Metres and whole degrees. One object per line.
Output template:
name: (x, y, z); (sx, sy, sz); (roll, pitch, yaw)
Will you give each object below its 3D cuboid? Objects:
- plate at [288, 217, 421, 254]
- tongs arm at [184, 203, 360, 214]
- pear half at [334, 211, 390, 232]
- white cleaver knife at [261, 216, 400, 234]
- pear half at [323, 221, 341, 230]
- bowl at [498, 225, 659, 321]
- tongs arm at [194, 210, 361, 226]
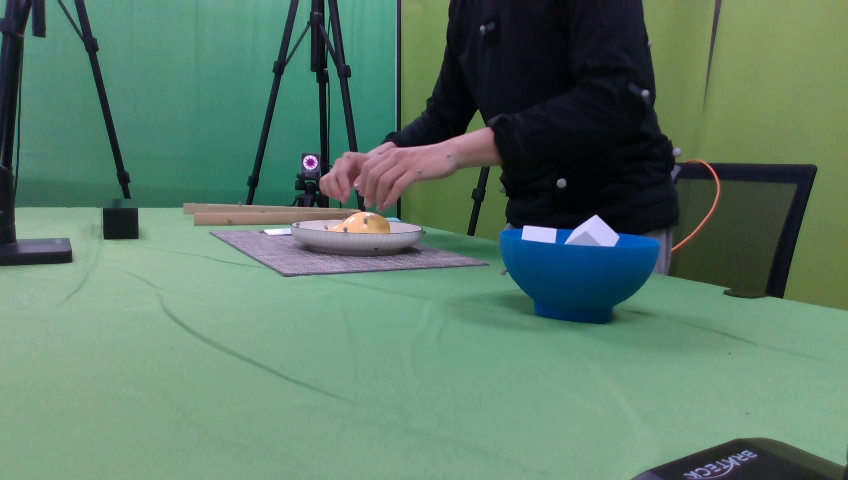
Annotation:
plate: (-0.109, -0.008, 0.956); (0.208, 0.039, 0.207); (2, 7, 0)
tongs arm: (-0.337, -0.065, 1.376); (0.387, 0.026, 0.050); (0, 9, -25)
pear half: (-0.107, -0.016, 0.919); (0.110, 0.056, 0.076); (-3, 4, -20)
white cleaver knife: (-0.168, -0.023, 1.155); (0.288, 0.021, 0.065); (-7, 15, -33)
pear half: (-0.126, -0.018, 1.001); (0.088, 0.031, 0.070); (10, 4, 2)
bowl: (0.144, 0.031, 0.585); (0.151, 0.077, 0.151); (2, 7, 0)
tongs arm: (-0.298, -0.049, 1.307); (0.390, 0.028, 0.028); (-3, 8, -37)
